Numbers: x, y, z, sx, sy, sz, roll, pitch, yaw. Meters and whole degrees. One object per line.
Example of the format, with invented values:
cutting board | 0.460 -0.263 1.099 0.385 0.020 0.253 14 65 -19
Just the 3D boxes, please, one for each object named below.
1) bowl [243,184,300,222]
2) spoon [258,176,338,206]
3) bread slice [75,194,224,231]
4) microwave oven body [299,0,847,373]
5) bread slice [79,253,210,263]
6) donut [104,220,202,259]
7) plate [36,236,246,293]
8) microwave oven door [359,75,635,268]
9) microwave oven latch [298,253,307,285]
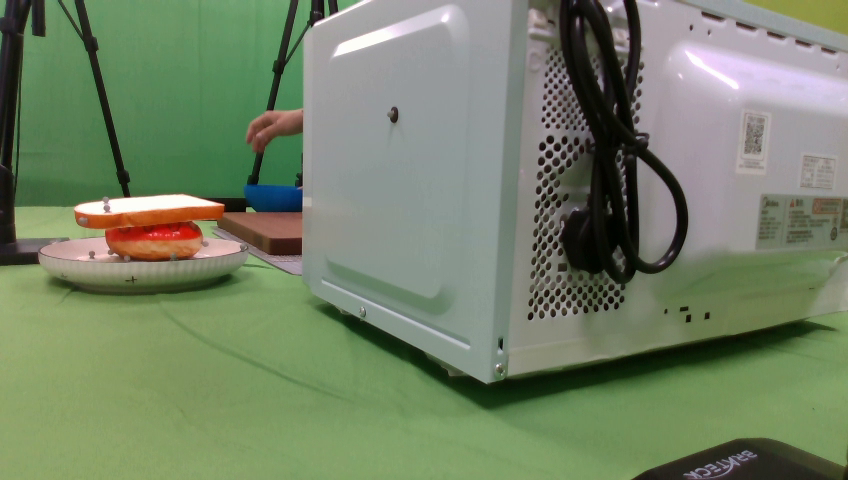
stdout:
bowl | -0.321 -0.081 1.333 0.151 0.077 0.151 3 7 0
spoon | -0.279 -0.112 1.357 0.194 0.021 0.041 -28 17 -27
bread slice | -0.301 -0.032 0.659 0.106 0.018 0.135 10 17 41
microwave oven body | 0.151 -0.055 0.543 0.444 0.260 0.324 -2 7 -33
bread slice | -0.302 0.027 0.662 0.132 0.019 0.104 -4 8 -45
donut | -0.298 -0.003 0.669 0.099 0.048 0.099 3 -1 0
plate | -0.305 0.026 0.668 0.208 0.039 0.207 2 7 0
microwave oven door | 0.089 -0.096 0.815 0.355 0.243 0.039 4 8 12
microwave oven latch | -0.081 0.027 0.583 0.079 0.029 0.030 -1 7 -32
